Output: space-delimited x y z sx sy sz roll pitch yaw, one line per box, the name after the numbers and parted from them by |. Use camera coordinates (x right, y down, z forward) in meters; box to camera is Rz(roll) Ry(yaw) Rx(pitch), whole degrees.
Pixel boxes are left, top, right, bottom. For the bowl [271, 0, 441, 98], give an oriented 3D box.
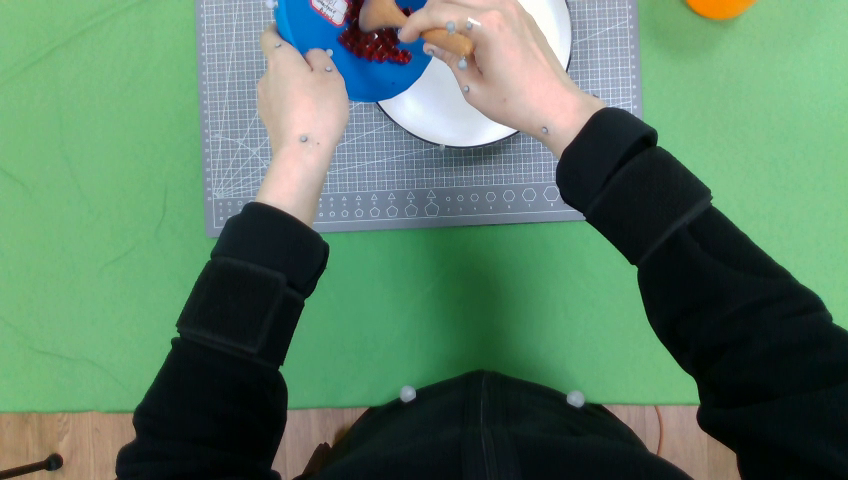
-0.067 -0.198 0.504 0.076 0.153 0.151 24 92 47 | bowl

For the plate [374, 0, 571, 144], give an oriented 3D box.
0.038 -0.197 0.597 0.209 0.038 0.209 0 90 3 | plate

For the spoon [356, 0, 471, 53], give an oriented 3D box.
-0.011 -0.164 0.450 0.022 0.191 0.041 23 104 -39 | spoon
